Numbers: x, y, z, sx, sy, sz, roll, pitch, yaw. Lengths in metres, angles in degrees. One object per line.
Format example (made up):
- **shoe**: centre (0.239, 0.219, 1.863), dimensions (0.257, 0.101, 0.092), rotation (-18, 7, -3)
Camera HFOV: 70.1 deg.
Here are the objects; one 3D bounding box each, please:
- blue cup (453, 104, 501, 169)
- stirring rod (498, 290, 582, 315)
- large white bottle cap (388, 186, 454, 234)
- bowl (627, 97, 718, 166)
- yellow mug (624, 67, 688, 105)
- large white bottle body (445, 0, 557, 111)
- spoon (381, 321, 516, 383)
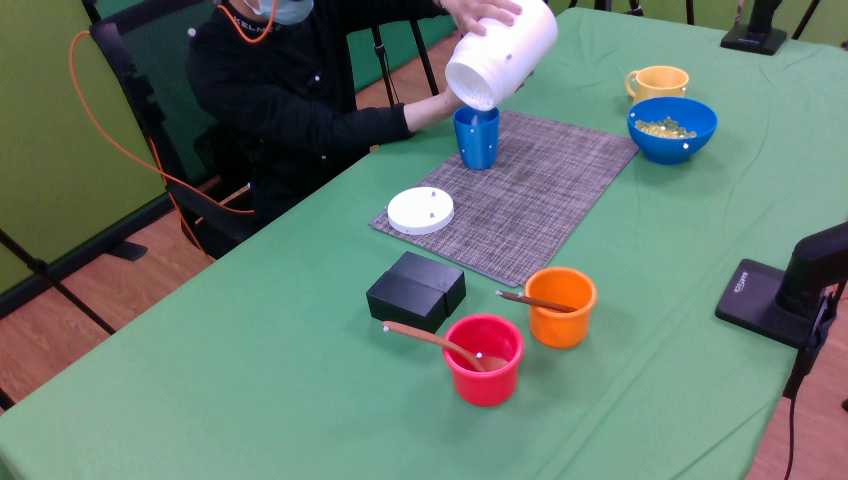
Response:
- **blue cup**: centre (0.100, -0.188, 1.114), dimensions (0.092, 0.100, 0.092), rotation (-4, 39, 4)
- **stirring rod**: centre (0.152, 0.081, 0.771), dimensions (0.178, 0.006, 0.014), rotation (16, 19, -44)
- **large white bottle cap**: centre (-0.006, -0.052, 1.036), dimensions (0.115, 0.018, 0.114), rotation (-4, 40, 4)
- **bowl**: centre (0.439, -0.187, 1.087), dimensions (0.151, 0.077, 0.150), rotation (-4, 41, 4)
- **yellow mug**: centre (0.465, -0.305, 1.230), dimensions (0.100, 0.064, 0.129), rotation (-34, 46, -27)
- **large white bottle body**: centre (0.134, -0.330, 1.069), dimensions (0.129, 0.131, 0.185), rotation (28, 70, 34)
- **spoon**: centre (0.033, 0.131, 0.725), dimensions (0.195, 0.021, 0.041), rotation (29, 29, -26)
